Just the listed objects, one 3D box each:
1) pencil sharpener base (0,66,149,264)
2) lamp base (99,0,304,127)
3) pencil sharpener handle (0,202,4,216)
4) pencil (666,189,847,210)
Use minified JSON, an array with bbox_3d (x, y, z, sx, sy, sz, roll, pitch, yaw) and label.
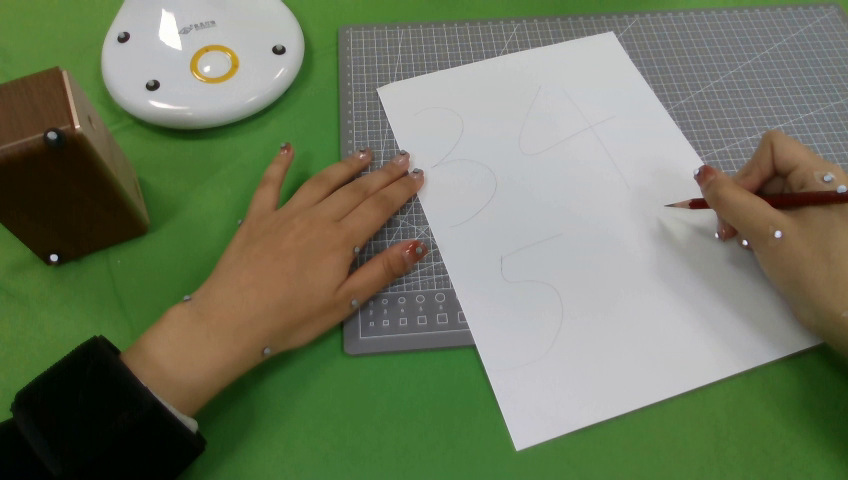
[{"bbox_3d":[-0.233,-0.042,0.379,0.077,0.108,0.061,-23,62,-13],"label":"pencil sharpener base"},{"bbox_3d":[-0.187,-0.202,0.432,0.160,0.182,0.177,-32,62,-18],"label":"lamp base"},{"bbox_3d":[-0.280,-0.030,0.357,0.031,0.068,0.035,-23,65,-13],"label":"pencil sharpener handle"},{"bbox_3d":[0.226,-0.024,0.345,0.193,0.012,0.012,-1,45,53],"label":"pencil"}]
